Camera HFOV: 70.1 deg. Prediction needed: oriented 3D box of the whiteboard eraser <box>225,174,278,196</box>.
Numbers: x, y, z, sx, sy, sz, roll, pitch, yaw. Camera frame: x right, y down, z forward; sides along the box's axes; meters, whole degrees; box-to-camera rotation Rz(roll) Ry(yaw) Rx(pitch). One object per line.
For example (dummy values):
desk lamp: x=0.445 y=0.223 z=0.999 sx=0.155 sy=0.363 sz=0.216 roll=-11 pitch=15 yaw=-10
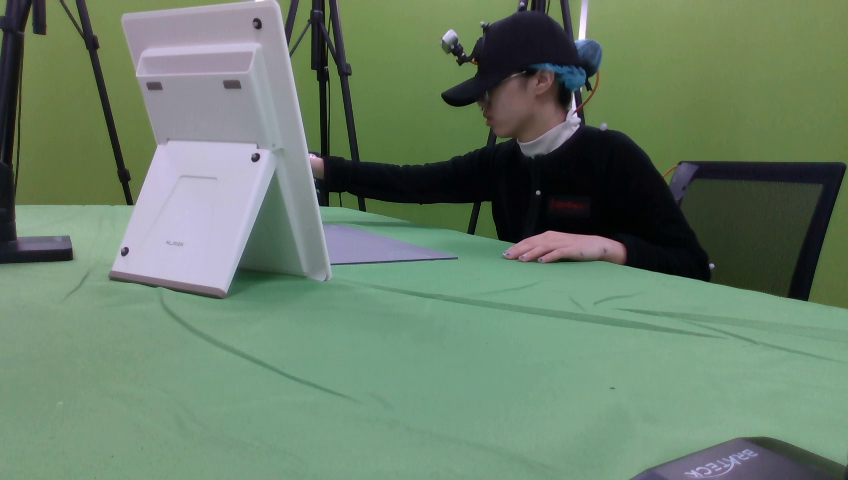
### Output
whiteboard eraser: x=-0.372 y=-0.119 z=1.311 sx=0.055 sy=0.042 sz=0.113 roll=14 pitch=8 yaw=22

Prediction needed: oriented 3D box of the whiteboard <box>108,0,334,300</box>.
whiteboard: x=-0.248 y=-0.072 z=0.624 sx=0.216 sy=0.305 sz=0.144 roll=6 pitch=28 yaw=26
